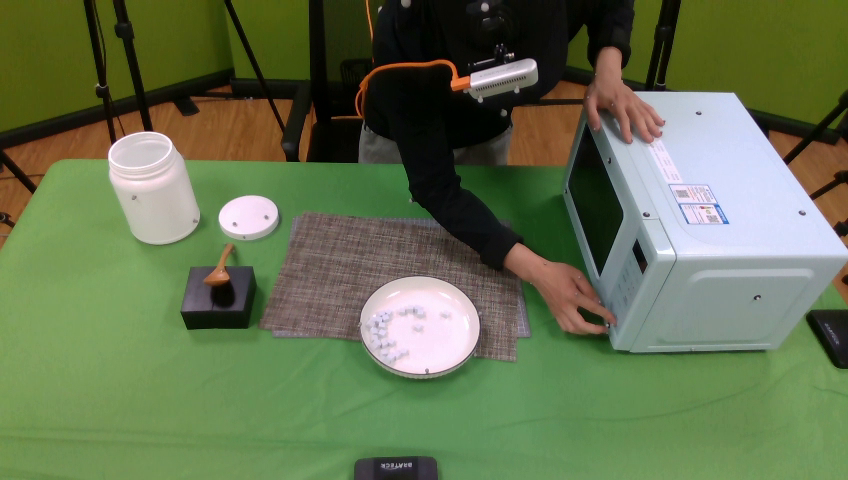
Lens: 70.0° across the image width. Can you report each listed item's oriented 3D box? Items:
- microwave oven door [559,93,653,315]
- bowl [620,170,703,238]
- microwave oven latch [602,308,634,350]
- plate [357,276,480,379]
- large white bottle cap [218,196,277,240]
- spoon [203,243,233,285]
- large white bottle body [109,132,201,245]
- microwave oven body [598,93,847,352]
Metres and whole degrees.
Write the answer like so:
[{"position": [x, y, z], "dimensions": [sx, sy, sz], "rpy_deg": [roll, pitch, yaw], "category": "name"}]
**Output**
[{"position": [0.327, -0.074, 1.123], "dimensions": [0.039, 0.245, 0.353], "rpy_deg": [-1, 46, -5], "category": "microwave oven door"}, {"position": [0.445, -0.057, 1.166], "dimensions": [0.151, 0.077, 0.150], "rpy_deg": [2, 46, -1], "category": "bowl"}, {"position": [0.332, 0.152, 1.044], "dimensions": [0.030, 0.029, 0.078], "rpy_deg": [-1, 45, -4], "category": "microwave oven latch"}, {"position": [-0.010, 0.151, 1.038], "dimensions": [0.209, 0.038, 0.208], "rpy_deg": [2, 47, -2], "category": "plate"}, {"position": [-0.354, -0.045, 1.220], "dimensions": [0.115, 0.018, 0.114], "rpy_deg": [2, 45, -1], "category": "large white bottle cap"}, {"position": [-0.360, 0.039, 1.087], "dimensions": [0.041, 0.022, 0.192], "rpy_deg": [-5, 24, -7], "category": "spoon"}, {"position": [-0.506, -0.097, 1.141], "dimensions": [0.131, 0.185, 0.130], "rpy_deg": [2, 46, -2], "category": "large white bottle body"}, {"position": [0.475, -0.042, 1.109], "dimensions": [0.326, 0.261, 0.438], "rpy_deg": [-1, 45, -4], "category": "microwave oven body"}]
